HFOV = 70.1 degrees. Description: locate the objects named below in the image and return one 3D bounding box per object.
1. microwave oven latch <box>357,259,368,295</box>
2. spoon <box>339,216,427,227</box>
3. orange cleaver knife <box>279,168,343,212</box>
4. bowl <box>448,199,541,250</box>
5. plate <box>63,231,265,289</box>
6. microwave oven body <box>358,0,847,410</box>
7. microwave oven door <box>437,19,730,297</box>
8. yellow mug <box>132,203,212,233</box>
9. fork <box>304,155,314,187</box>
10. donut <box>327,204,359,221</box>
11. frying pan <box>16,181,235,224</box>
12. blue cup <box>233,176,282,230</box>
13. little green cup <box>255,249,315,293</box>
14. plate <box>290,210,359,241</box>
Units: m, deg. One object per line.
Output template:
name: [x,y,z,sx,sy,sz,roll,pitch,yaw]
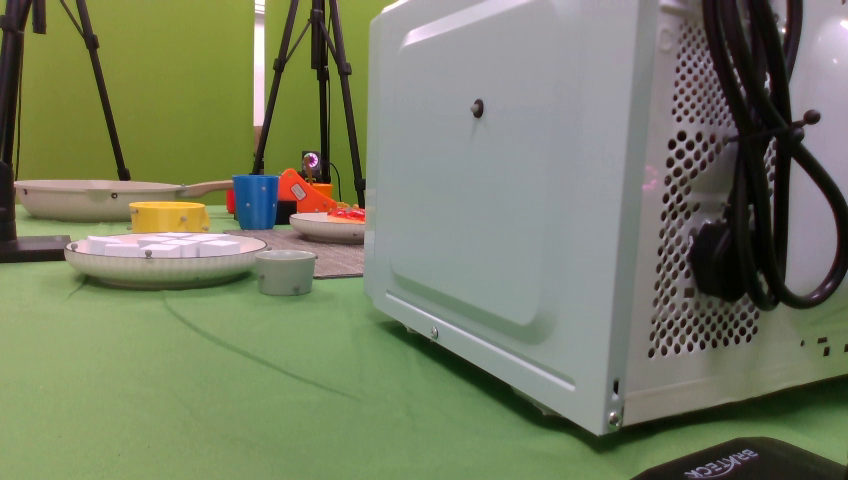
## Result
microwave oven latch: [-0.019,0.031,0.529,0.079,0.029,0.030,-1,7,-27]
spoon: [-0.087,-0.041,1.268,0.193,0.021,0.041,4,25,13]
orange cleaver knife: [-0.236,-0.084,1.333,0.212,0.077,0.012,31,-9,-32]
bowl: [0.113,-0.026,0.989,0.151,0.077,0.151,1,5,0]
plate: [-0.288,0.021,0.687,0.208,0.039,0.207,2,8,0]
microwave oven body: [0.210,-0.051,0.471,0.444,0.260,0.324,-1,7,-28]
microwave oven door: [0.181,-0.076,0.618,0.358,0.243,0.039,-2,9,-28]
yellow mug: [-0.356,-0.020,0.878,0.099,0.064,0.131,5,7,22]
fork: [-0.268,-0.134,1.446,0.028,0.018,0.207,2,-36,-1]
donut: [-0.120,-0.037,1.056,0.099,0.048,0.099,5,7,0]
frying pan: [-0.554,-0.097,1.266,0.490,0.102,0.305,-10,13,-24]
blue cup: [-0.314,-0.071,1.141,0.093,0.100,0.092,0,7,0]
little green cup: [-0.144,0.032,0.627,0.061,0.038,0.061,3,7,0]
plate: [-0.127,-0.025,1.051,0.209,0.038,0.209,2,7,0]
